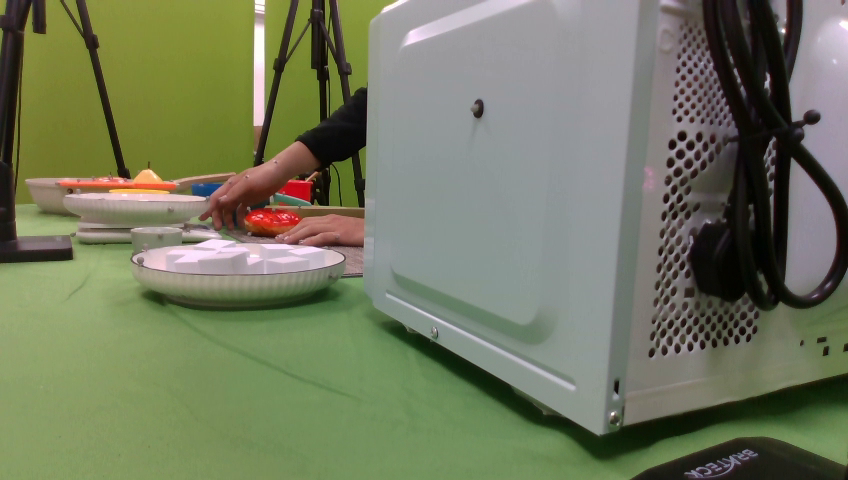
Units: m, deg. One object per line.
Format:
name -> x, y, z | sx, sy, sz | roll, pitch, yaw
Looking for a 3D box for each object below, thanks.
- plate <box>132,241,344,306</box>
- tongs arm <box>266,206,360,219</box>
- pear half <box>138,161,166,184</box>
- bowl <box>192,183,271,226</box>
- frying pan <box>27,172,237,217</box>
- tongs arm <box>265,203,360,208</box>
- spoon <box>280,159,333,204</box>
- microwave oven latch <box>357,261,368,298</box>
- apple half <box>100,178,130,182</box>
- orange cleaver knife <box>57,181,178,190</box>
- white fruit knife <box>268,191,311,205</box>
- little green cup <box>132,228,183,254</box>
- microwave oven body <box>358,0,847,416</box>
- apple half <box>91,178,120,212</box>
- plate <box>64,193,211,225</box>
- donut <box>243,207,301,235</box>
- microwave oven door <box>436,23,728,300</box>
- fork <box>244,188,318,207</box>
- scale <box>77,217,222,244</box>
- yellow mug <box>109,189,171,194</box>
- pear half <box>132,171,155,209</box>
plate -> -0.187, 0.033, 0.625 | 0.208, 0.039, 0.207 | 2, 7, 0
tongs arm -> -0.173, -0.061, 1.362 | 0.387, 0.026, 0.050 | -1, 4, -31
pear half -> -0.602, -0.120, 1.354 | 0.056, 0.110, 0.076 | 4, 11, 5
bowl -> -0.382, -0.070, 1.202 | 0.151, 0.077, 0.151 | 3, 7, 0
frying pan -> -0.624, -0.118, 1.387 | 0.305, 0.102, 0.490 | 8, 17, 32
tongs arm -> -0.209, -0.070, 1.439 | 0.389, 0.027, 0.028 | 1, 0, -16
spoon -> -0.317, -0.159, 1.640 | 0.194, 0.022, 0.041 | -49, 32, -20
microwave oven latch -> -0.019, 0.033, 0.530 | 0.079, 0.029, 0.030 | -1, 7, -26
apple half -> -0.638, -0.093, 1.266 | 0.053, 0.074, 0.081 | 7, 5, 10
orange cleaver knife -> -0.600, -0.109, 1.189 | 0.212, 0.012, 0.077 | -1, 11, -26
white fruit knife -> -0.364, -0.105, 1.464 | 0.208, 0.027, 0.016 | 15, 0, -34
little green cup -> -0.342, 0.006, 0.779 | 0.061, 0.038, 0.061 | 2, 8, 0
microwave oven body -> 0.211, -0.047, 0.474 | 0.444, 0.260, 0.324 | -1, 7, -28
apple half -> -0.677, -0.096, 1.271 | 0.033, 0.081, 0.081 | 7, 8, 10
plate -> -0.446, -0.050, 0.952 | 0.209, 0.038, 0.209 | 2, 7, 0
donut -> -0.262, -0.032, 1.043 | 0.099, 0.048, 0.099 | 5, 9, 0
microwave oven door -> 0.180, -0.072, 0.621 | 0.358, 0.243, 0.039 | -2, 9, -29
fork -> -0.356, -0.105, 1.526 | 0.208, 0.018, 0.028 | 16, -5, -41
scale -> -0.434, -0.019, 0.963 | 0.202, 0.031, 0.148 | -1, 8, -27
yellow mug -> -0.519, -0.055, 1.081 | 0.099, 0.064, 0.131 | 7, 10, 26
pear half -> -0.636, -0.113, 1.362 | 0.031, 0.088, 0.070 | 3, 13, 1
